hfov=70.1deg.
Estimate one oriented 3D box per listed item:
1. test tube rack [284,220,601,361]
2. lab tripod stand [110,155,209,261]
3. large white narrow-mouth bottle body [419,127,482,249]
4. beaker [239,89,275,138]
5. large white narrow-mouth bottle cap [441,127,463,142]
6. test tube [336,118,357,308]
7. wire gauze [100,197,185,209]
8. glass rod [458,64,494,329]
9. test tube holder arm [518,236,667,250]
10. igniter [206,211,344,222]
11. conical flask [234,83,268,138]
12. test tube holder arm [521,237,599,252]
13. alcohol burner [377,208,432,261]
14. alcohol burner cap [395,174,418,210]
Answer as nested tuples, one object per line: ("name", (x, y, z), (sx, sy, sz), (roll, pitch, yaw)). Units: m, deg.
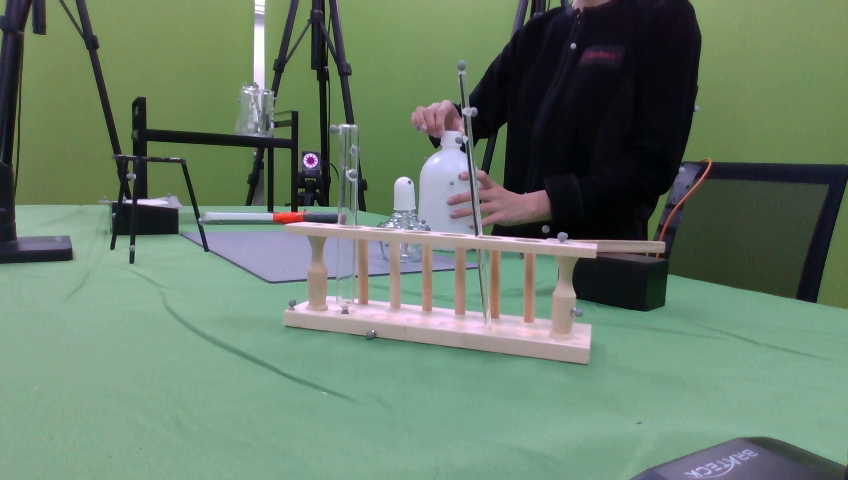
("test tube rack", (0.013, 0.032, 0.482), (0.242, 0.085, 0.067), (4, 7, 16))
("lab tripod stand", (-0.361, -0.046, 0.806), (0.148, 0.131, 0.148), (2, 5, 0))
("large white narrow-mouth bottle body", (0.044, -0.086, 0.993), (0.102, 0.194, 0.102), (2, 8, 0))
("beaker", (-0.361, -0.273, 1.308), (0.074, 0.100, 0.084), (0, 8, -11))
("large white narrow-mouth bottle cap", (0.045, -0.171, 0.982), (0.038, 0.024, 0.037), (2, 8, 0))
("test tube", (-0.061, -0.019, 0.476), (0.017, 0.150, 0.017), (2, 11, 0))
("wire gauze", (-0.469, -0.062, 1.008), (0.126, 0.011, 0.121), (-2, 8, -25))
("glass rod", (0.039, -0.029, 0.449), (0.008, 0.199, 0.008), (-7, 9, 1))
("test tube holder arm", (0.185, 0.003, 0.654), (0.179, 0.015, 0.013), (0, 13, -18))
("igniter", (-0.302, -0.048, 1.248), (0.278, 0.025, 0.057), (-2, -2, -27))
("conical flask", (-0.399, -0.298, 1.396), (0.075, 0.122, 0.075), (2, 8, 0))
("test tube holder arm", (0.144, 0.004, 0.635), (0.088, 0.015, 0.010), (0, 13, -19))
("alcohol burner", (-0.027, -0.031, 0.838), (0.078, 0.119, 0.078), (0, 6, 0))
("alcohol burner cap", (-0.026, -0.067, 0.833), (0.034, 0.048, 0.034), (-2, 12, 1))
